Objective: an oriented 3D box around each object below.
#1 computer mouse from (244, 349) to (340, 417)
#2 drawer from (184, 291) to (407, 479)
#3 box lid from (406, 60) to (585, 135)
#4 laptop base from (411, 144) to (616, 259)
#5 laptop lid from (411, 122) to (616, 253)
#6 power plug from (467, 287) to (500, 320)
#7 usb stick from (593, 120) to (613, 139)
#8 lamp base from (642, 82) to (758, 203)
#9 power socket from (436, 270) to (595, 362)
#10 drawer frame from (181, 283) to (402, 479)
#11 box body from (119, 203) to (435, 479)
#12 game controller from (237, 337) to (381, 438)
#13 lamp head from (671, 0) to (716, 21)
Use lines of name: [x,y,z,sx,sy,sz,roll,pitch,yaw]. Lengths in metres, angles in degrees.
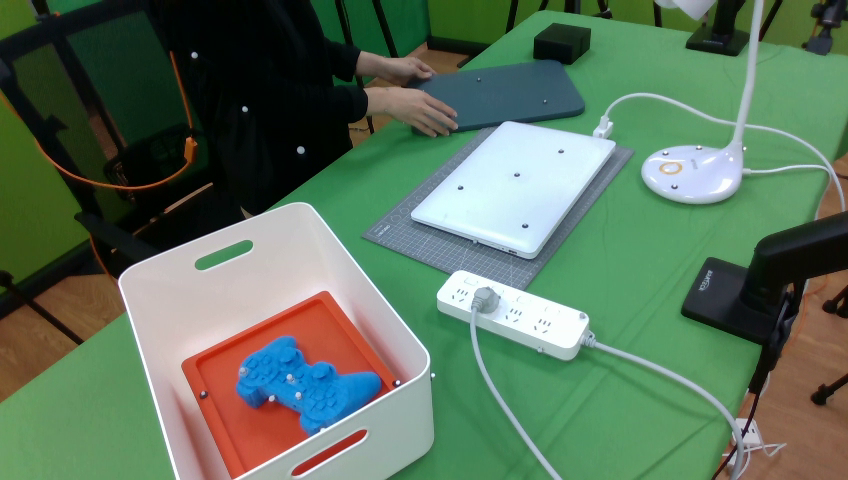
computer mouse: [-0.165,0.172,0.754,0.118,0.041,0.062,-18,34,-18]
drawer: [-0.155,0.178,0.719,0.195,0.073,0.210,-27,40,-22]
box lid: [0.150,-0.320,1.340,0.372,0.015,0.261,-8,40,0]
laptop base: [0.168,-0.101,1.073,0.234,0.023,0.355,17,46,31]
laptop lid: [0.165,-0.111,1.067,0.240,0.013,0.357,19,46,31]
power plug: [0.073,0.092,0.814,0.035,0.053,0.073,29,54,34]
usb stick: [0.336,-0.201,1.147,0.021,0.027,0.059,26,53,26]
lamp base: [0.464,-0.174,0.992,0.179,0.181,0.159,-5,41,-1]
power socket: [0.118,0.101,0.832,0.225,0.033,0.072,19,48,27]
drawer frame: [-0.153,0.179,0.727,0.202,0.083,0.211,-28,49,-20]
box body: [-0.175,0.142,0.725,0.255,0.161,0.360,-25,43,-20]
game controller: [-0.135,0.157,0.674,0.154,0.052,0.097,17,50,27]
lamp head: [0.375,-0.373,0.807,0.122,0.113,0.112,-40,27,32]
